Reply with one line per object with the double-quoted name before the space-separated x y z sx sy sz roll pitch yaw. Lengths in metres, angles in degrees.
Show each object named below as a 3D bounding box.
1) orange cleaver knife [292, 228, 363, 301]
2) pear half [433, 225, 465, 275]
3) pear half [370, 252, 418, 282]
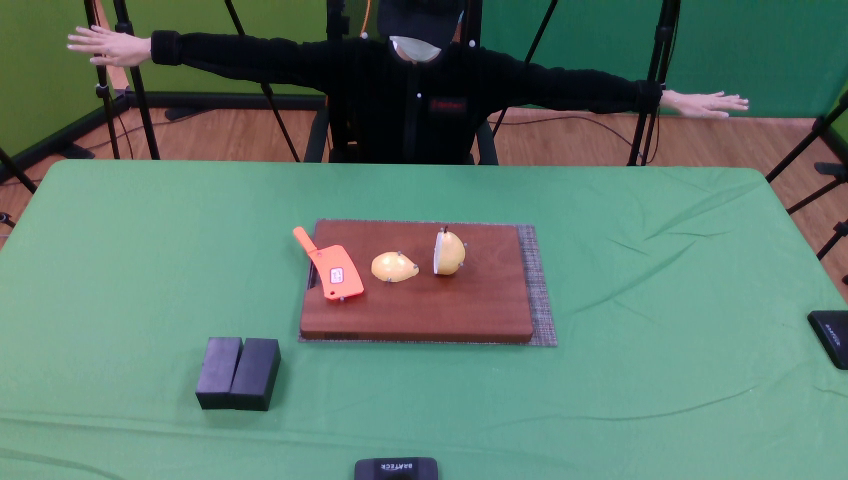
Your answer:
"orange cleaver knife" -0.181 0.037 1.113 0.077 0.012 0.210 -23 49 -19
"pear half" 0.046 0.014 1.089 0.056 0.110 0.076 -3 50 -7
"pear half" -0.056 0.044 1.109 0.088 0.031 0.070 4 52 4
